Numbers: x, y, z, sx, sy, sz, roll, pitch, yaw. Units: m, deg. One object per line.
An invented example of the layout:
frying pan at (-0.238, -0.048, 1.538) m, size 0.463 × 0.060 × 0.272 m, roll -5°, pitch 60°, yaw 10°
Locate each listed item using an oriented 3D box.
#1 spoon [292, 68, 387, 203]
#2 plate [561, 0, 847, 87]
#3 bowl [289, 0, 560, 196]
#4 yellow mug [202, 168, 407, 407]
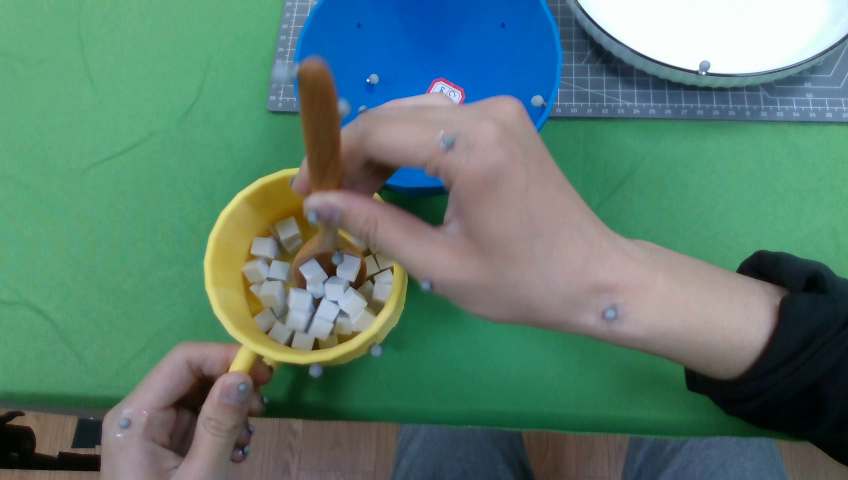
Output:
spoon at (-0.038, -0.036, 0.276) m, size 0.041 × 0.194 × 0.021 m, roll 24°, pitch 86°, yaw -1°
plate at (0.188, -0.189, 0.410) m, size 0.209 × 0.038 × 0.207 m, roll -1°, pitch 71°, yaw 4°
bowl at (0.003, -0.088, 0.370) m, size 0.151 × 0.077 × 0.150 m, roll -1°, pitch 75°, yaw 5°
yellow mug at (-0.067, 0.031, 0.326) m, size 0.100 × 0.064 × 0.130 m, roll 29°, pitch 80°, yaw 4°
